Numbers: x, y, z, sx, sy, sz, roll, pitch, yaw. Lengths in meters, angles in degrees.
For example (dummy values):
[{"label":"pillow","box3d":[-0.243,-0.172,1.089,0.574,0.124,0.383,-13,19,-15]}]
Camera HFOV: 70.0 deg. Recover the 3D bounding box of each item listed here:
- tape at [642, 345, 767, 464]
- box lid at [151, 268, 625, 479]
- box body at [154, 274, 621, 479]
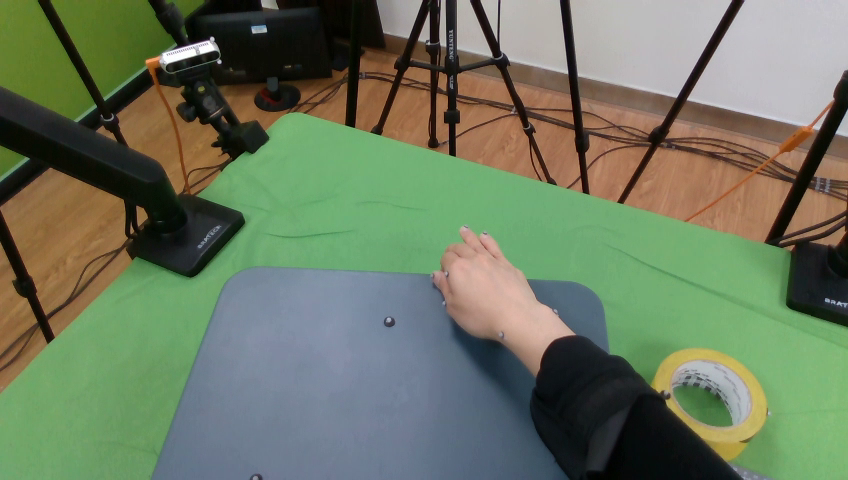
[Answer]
[{"label":"tape","box3d":[0.294,0.172,0.643,0.117,0.053,0.115,0,47,1]},{"label":"box lid","box3d":[-0.021,0.134,0.516,0.371,0.015,0.261,2,49,5]},{"label":"box body","box3d":[-0.020,0.183,0.573,0.364,0.162,0.252,2,49,5]}]
